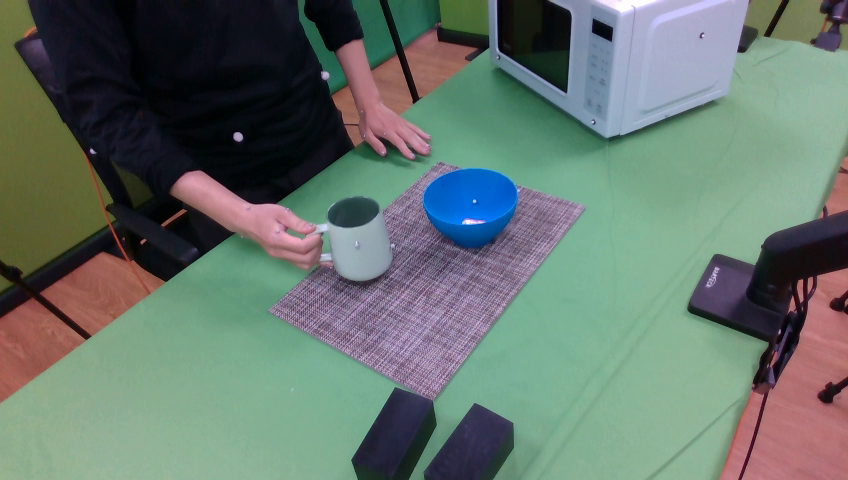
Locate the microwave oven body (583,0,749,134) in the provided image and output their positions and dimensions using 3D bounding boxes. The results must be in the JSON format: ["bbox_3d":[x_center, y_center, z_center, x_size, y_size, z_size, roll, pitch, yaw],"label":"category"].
[{"bbox_3d":[0.382,-0.444,1.246,0.327,0.261,0.437,-22,42,-16],"label":"microwave oven body"}]

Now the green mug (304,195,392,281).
[{"bbox_3d":[-0.113,0.002,0.887,0.125,0.105,0.092,-11,41,-5],"label":"green mug"}]

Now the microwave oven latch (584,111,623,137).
[{"bbox_3d":[0.337,-0.222,1.142,0.030,0.029,0.078,-21,42,-14],"label":"microwave oven latch"}]

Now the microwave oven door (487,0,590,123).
[{"bbox_3d":[0.232,-0.420,1.231,0.039,0.245,0.352,-22,43,-16],"label":"microwave oven door"}]

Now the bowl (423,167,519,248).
[{"bbox_3d":[0.075,-0.041,0.959,0.151,0.077,0.150,-4,40,4],"label":"bowl"}]
